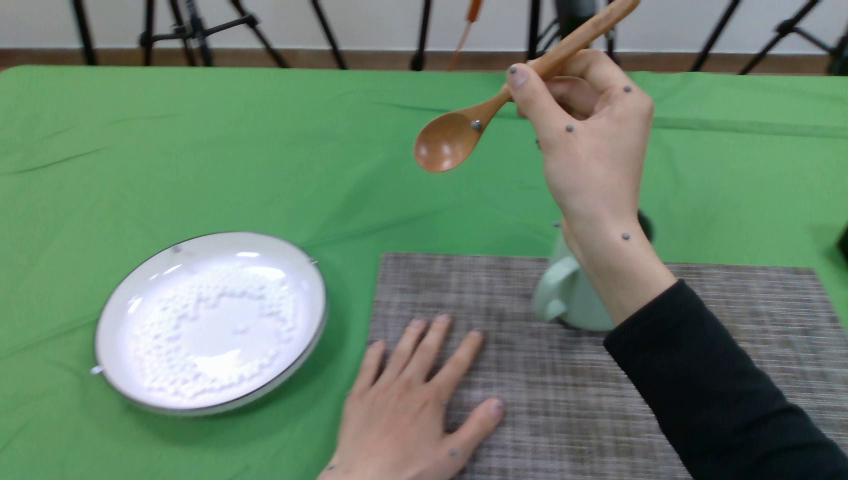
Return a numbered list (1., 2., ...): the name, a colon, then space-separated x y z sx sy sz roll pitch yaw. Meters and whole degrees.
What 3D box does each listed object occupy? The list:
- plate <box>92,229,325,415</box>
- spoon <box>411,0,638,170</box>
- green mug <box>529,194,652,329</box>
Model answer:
1. plate: -0.196 0.075 0.574 0.209 0.038 0.207 0 46 1
2. spoon: 0.065 -0.110 0.429 0.022 0.193 0.041 -23 82 -57
3. green mug: 0.146 0.029 0.556 0.125 0.106 0.091 -31 53 -25
